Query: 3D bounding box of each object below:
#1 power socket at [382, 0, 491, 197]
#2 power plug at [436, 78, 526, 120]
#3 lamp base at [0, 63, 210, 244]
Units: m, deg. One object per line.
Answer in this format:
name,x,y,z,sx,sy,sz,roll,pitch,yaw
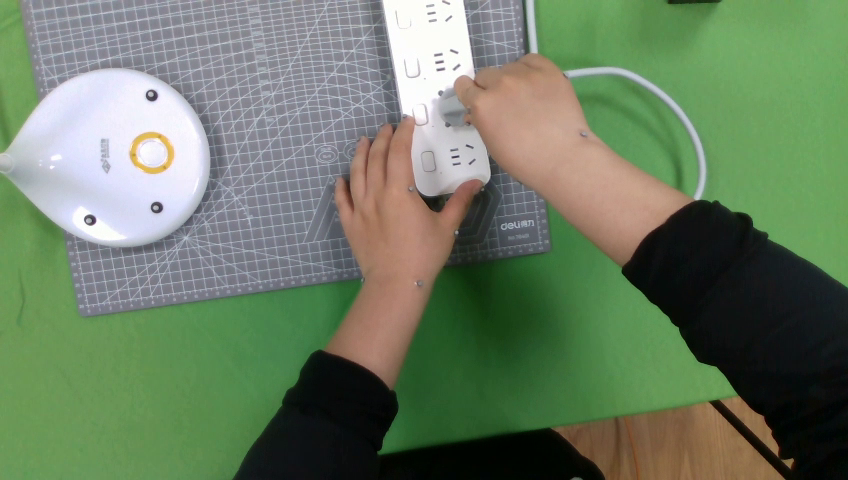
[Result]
power socket,0.010,-0.152,0.547,0.072,0.032,0.227,-11,96,-2
power plug,0.047,-0.121,0.529,0.073,0.052,0.035,4,91,-6
lamp base,-0.283,-0.067,0.468,0.179,0.180,0.161,-14,95,2
